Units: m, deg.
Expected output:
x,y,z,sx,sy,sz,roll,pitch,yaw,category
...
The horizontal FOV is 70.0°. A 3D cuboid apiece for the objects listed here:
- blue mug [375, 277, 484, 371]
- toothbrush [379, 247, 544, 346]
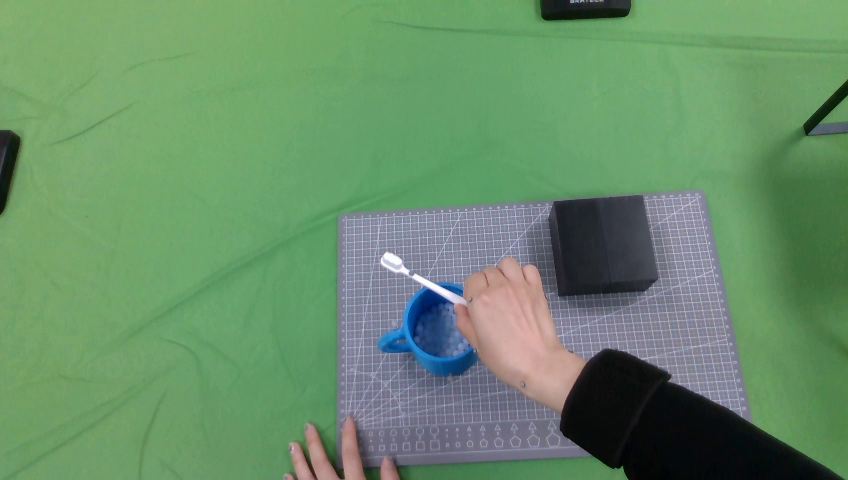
x,y,z,sx,sy,sz,roll,pitch,yaw,category
0.005,0.096,0.649,0.116,0.106,0.082,-12,71,-1,blue mug
0.036,0.054,0.588,0.181,0.017,0.014,29,53,4,toothbrush
